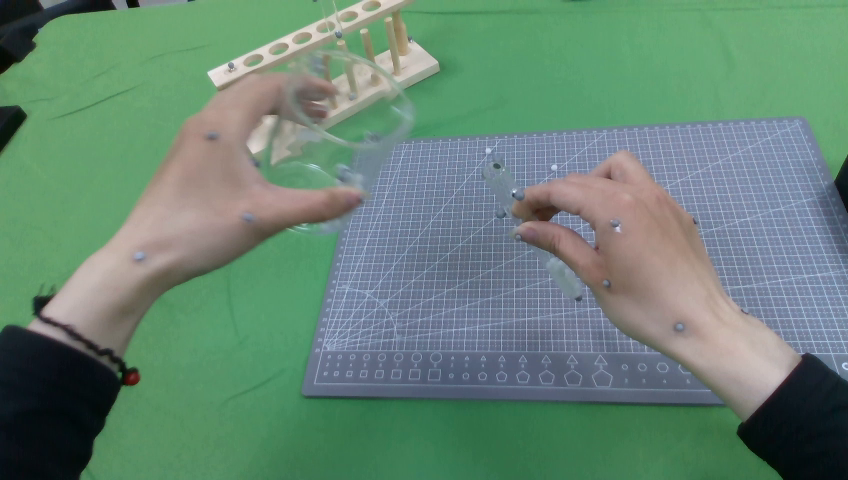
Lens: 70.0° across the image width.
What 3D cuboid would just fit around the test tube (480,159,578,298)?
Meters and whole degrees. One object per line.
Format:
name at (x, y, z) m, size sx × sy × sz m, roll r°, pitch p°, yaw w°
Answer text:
test tube at (0.077, -0.002, 0.417) m, size 0.017 × 0.152 × 0.017 m, roll -20°, pitch 46°, yaw 22°

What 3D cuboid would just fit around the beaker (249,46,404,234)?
beaker at (-0.064, -0.057, 0.378) m, size 0.084 × 0.100 × 0.073 m, roll -12°, pitch 64°, yaw -34°

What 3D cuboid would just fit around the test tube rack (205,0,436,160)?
test tube rack at (-0.110, -0.192, 0.688) m, size 0.242 × 0.086 × 0.066 m, roll -30°, pitch 53°, yaw -13°

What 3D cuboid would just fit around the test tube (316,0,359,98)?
test tube at (-0.094, -0.216, 0.646) m, size 0.017 × 0.152 × 0.017 m, roll -6°, pitch 50°, yaw 7°
